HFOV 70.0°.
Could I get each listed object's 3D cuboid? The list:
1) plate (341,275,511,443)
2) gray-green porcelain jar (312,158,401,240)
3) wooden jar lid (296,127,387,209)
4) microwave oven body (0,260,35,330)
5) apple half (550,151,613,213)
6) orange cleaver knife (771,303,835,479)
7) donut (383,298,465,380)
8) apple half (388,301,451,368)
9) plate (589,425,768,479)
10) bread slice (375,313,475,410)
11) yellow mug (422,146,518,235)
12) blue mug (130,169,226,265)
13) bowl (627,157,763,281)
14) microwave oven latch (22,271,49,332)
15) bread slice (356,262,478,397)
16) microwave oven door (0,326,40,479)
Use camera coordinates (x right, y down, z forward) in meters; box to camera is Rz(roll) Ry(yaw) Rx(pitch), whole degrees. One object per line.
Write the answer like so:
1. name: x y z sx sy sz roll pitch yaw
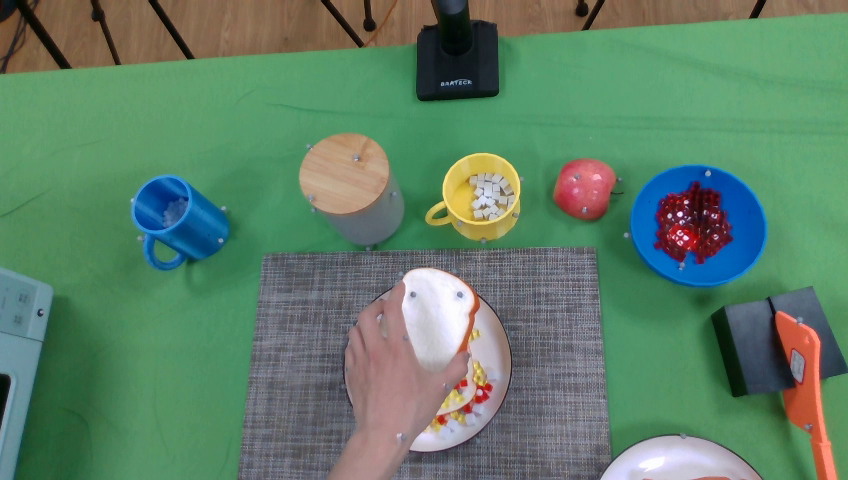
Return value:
1. plate: 0.003 0.141 0.746 0.207 0.039 0.206 -2 72 7
2. gray-green porcelain jar: -0.087 -0.064 0.781 0.106 0.127 0.105 -2 71 7
3. wooden jar lid: -0.097 -0.084 0.721 0.108 0.021 0.107 -2 70 5
4. microwave oven body: -0.698 0.224 0.696 0.325 0.262 0.439 -1 73 7
5. apple half: 0.205 -0.081 0.786 0.074 0.054 0.080 20 76 16
6. orange cleaver knife: 0.411 0.174 0.659 0.012 0.077 0.211 -11 93 -3
7. donut: 0.000 0.118 0.723 0.099 0.048 0.098 -2 72 8
8. apple half: -0.007 0.105 0.691 0.081 0.033 0.080 -5 68 13
9. plate: 0.277 0.309 0.658 0.209 0.038 0.208 -3 72 8
10. bread slice: 0.008 0.139 0.746 0.107 0.018 0.133 -18 72 2
11. yellow mug: 0.058 -0.057 0.791 0.131 0.064 0.099 -23 70 1
12. blue mug: -0.334 -0.022 0.812 0.082 0.106 0.116 19 76 13
13. bowl: 0.317 -0.016 0.735 0.151 0.077 0.150 -2 72 8
14. microwave oven latch: -0.535 0.083 0.821 0.030 0.030 0.078 2 73 8
15. bread slice: -0.004 0.088 0.656 0.104 0.019 0.131 22 83 18
16. microwave oven door: -0.555 0.259 0.659 0.039 0.245 0.353 -1 72 8
